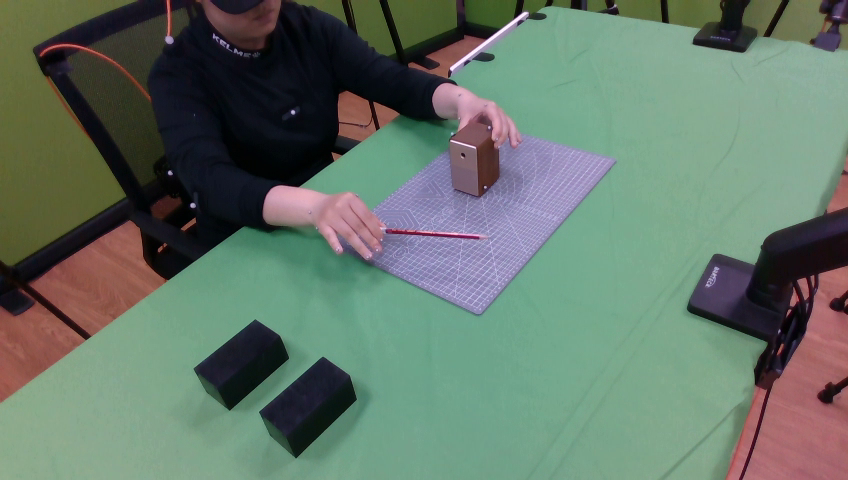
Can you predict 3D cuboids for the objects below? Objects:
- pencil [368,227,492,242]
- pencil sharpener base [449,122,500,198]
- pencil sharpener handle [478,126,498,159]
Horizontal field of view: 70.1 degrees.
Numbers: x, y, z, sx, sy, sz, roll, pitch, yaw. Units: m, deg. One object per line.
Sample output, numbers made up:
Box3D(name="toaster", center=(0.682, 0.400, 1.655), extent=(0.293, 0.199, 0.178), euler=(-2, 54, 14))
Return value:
Box3D(name="pencil", center=(0.007, -0.007, 0.916), extent=(0.193, 0.012, 0.012), euler=(5, 41, 14))
Box3D(name="pencil sharpener base", center=(0.091, -0.141, 1.052), extent=(0.061, 0.107, 0.077), euler=(21, 47, 30))
Box3D(name="pencil sharpener handle", center=(0.119, -0.179, 1.075), extent=(0.035, 0.068, 0.031), euler=(20, 47, 30))
